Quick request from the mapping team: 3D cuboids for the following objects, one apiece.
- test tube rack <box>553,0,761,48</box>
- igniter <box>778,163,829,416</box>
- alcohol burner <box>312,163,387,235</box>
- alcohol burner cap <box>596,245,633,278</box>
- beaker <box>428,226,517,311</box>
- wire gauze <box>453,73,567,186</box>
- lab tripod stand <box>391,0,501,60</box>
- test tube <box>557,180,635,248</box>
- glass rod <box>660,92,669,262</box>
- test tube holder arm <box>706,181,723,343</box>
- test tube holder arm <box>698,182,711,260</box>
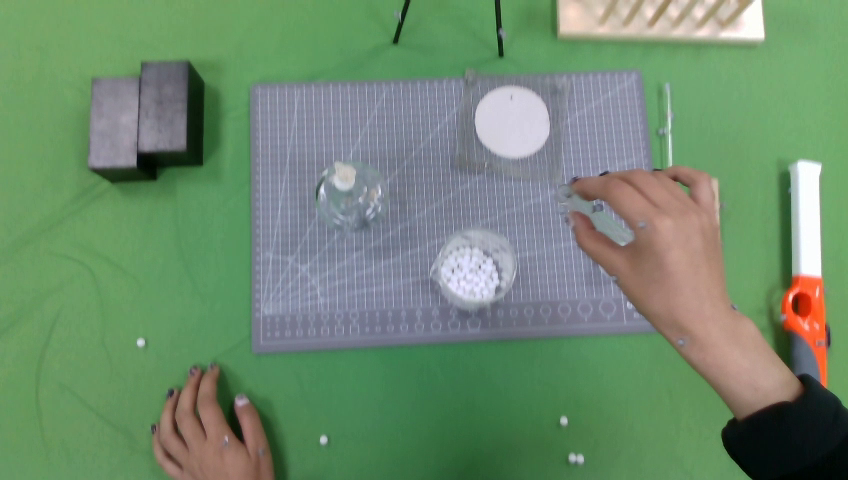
[{"bbox_3d":[0.277,-0.272,0.686,0.242,0.085,0.066,1,79,-1],"label":"test tube rack"},{"bbox_3d":[0.413,0.051,0.661,0.057,0.025,0.275,7,80,-11],"label":"igniter"},{"bbox_3d":[-0.078,-0.046,0.616,0.078,0.119,0.077,0,78,1],"label":"alcohol burner"},{"bbox_3d":[0.207,0.021,0.649,0.034,0.048,0.033,0,79,-1],"label":"alcohol burner cap"},{"bbox_3d":[0.045,0.034,0.613,0.084,0.100,0.073,-11,79,-3],"label":"beaker"},{"bbox_3d":[0.099,-0.129,0.691,0.125,0.011,0.121,8,81,-1],"label":"wire gauze"},{"bbox_3d":[0.031,-0.265,0.653,0.148,0.132,0.148,0,81,-1],"label":"lab tripod stand"},{"bbox_3d":[0.148,-0.018,0.506,0.017,0.151,0.017,-12,68,33],"label":"test tube"},{"bbox_3d":[0.274,-0.073,0.688,0.008,0.008,0.199,3,82,-1],"label":"glass rod"},{"bbox_3d":[0.318,0.023,0.665,0.013,0.015,0.177,-7,78,33],"label":"test tube holder arm"},{"bbox_3d":[0.314,-0.021,0.676,0.010,0.015,0.087,-6,78,34],"label":"test tube holder arm"}]
